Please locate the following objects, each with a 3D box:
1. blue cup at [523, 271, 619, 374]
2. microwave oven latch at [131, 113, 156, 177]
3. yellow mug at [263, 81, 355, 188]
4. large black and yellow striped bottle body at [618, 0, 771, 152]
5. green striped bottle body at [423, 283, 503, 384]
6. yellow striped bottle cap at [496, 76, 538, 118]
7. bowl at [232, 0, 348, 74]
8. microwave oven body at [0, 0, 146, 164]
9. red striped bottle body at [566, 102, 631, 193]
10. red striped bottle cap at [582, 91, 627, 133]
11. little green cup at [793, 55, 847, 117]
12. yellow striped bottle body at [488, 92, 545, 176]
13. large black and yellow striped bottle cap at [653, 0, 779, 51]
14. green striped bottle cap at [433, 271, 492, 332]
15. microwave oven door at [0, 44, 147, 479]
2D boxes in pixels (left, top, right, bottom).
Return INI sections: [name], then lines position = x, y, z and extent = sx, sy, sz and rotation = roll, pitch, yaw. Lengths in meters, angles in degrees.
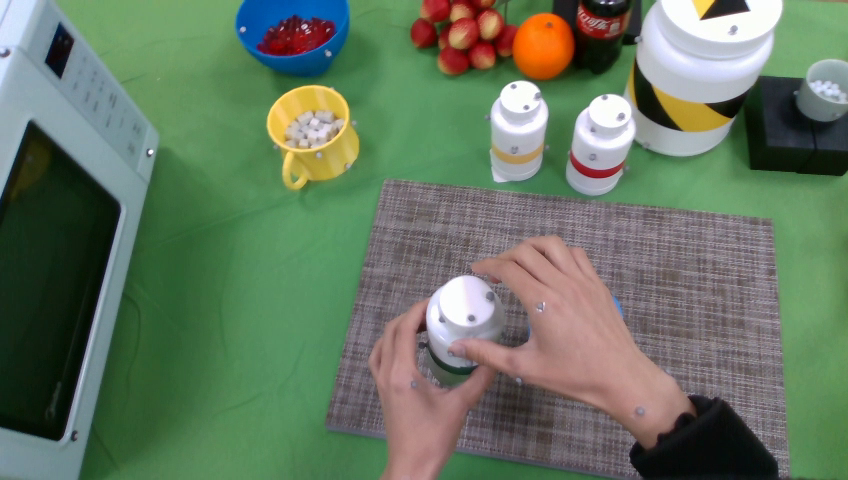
[blue cup]
position = 0.136, 0.089, 0.591
extent = 0.092, 0.101, 0.092
rotation = -2, 64, 4
[microwave oven latch]
position = -0.358, -0.118, 0.757
extent = 0.030, 0.030, 0.078
rotation = 0, 65, 5
[yellow mug]
position = -0.146, -0.123, 0.744
extent = 0.099, 0.064, 0.130
rotation = 16, 67, 12
[large black and yellow striped bottle body]
position = 0.296, -0.200, 0.674
extent = 0.131, 0.185, 0.129
rotation = -2, 64, 5
[green striped bottle body]
position = 0.031, 0.073, 0.506
extent = 0.063, 0.120, 0.062
rotation = 0, 60, 0
[yellow striped bottle cap]
position = 0.099, -0.153, 0.648
extent = 0.044, 0.019, 0.044
rotation = -2, 65, 4
[bowl]
position = -0.171, -0.279, 0.816
extent = 0.151, 0.077, 0.150
rotation = -2, 64, 4
[microwave oven body]
position = -0.516, 0.003, 0.605
extent = 0.326, 0.262, 0.438
rotation = -2, 65, 4
[red striped bottle body]
position = 0.194, -0.109, 0.676
extent = 0.063, 0.121, 0.062
rotation = -4, 61, 8
[red striped bottle cap]
position = 0.188, -0.134, 0.629
extent = 0.044, 0.018, 0.044
rotation = 0, 63, 1
[little green cup]
position = 0.444, -0.169, 0.670
extent = 0.061, 0.039, 0.061
rotation = -1, 63, 3
[yellow striped bottle body]
position = 0.105, -0.130, 0.694
extent = 0.063, 0.121, 0.062
rotation = -2, 64, 5
[large black and yellow striped bottle cap]
position = 0.287, -0.236, 0.599
extent = 0.115, 0.019, 0.114
rotation = -2, 63, 5
[green striped bottle cap]
position = 0.029, 0.046, 0.461
extent = 0.044, 0.020, 0.044
rotation = 1, 58, -1
[microwave oven door]
position = -0.371, 0.034, 0.571
extent = 0.039, 0.246, 0.353
rotation = -2, 64, 5
